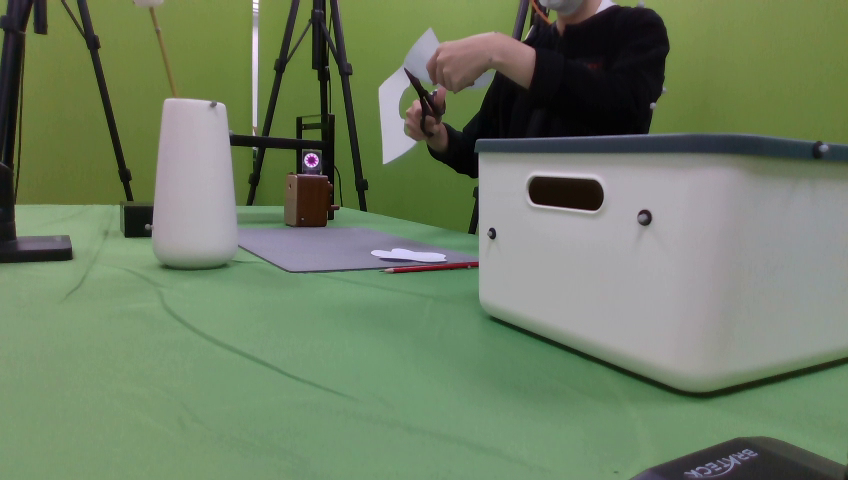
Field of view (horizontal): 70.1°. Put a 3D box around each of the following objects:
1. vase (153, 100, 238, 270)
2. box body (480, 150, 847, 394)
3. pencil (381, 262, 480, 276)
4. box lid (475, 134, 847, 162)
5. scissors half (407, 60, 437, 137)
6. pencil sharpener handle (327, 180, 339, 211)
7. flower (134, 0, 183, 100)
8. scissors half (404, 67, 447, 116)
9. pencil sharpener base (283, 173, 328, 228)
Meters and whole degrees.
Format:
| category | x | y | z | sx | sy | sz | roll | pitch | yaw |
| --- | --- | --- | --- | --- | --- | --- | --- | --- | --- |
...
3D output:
| category | x | y | z | sx | sy | sz | roll | pitch | yaw |
| --- | --- | --- | --- | --- | --- | --- | --- | --- | --- |
| vase | -0.278 | -0.066 | 0.736 | 0.098 | 0.200 | 0.098 | 2 | 9 | 0 |
| box body | 0.254 | 0.001 | 0.539 | 0.366 | 0.160 | 0.253 | -2 | 9 | -31 |
| pencil | 0.031 | 0.037 | 0.794 | 0.195 | 0.012 | 0.012 | -4 | 10 | -31 |
| box lid | 0.256 | -0.073 | 0.528 | 0.373 | 0.015 | 0.262 | -2 | 8 | -31 |
| scissors half | -0.007 | -0.250 | 1.082 | 0.012 | 0.176 | 0.040 | 18 | 59 | 28 |
| pencil sharpener handle | -0.194 | -0.094 | 1.256 | 0.031 | 0.067 | 0.036 | -2 | -5 | -36 |
| flower | -0.282 | -0.147 | 0.713 | 0.038 | 0.362 | 0.044 | -23 | 24 | -31 |
| scissors half | 0.003 | -0.270 | 1.088 | 0.013 | 0.040 | 0.176 | 13 | -4 | 27 |
| pencil sharpener base | -0.239 | -0.081 | 1.231 | 0.077 | 0.107 | 0.061 | -2 | 8 | -36 |
